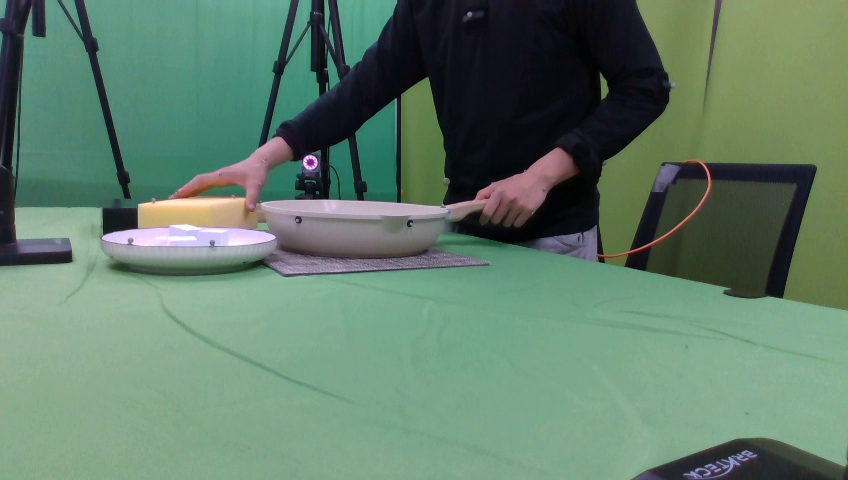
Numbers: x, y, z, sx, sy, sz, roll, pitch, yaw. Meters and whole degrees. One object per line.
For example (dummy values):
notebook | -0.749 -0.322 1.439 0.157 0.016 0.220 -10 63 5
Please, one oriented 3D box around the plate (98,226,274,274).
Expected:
plate | -0.301 0.012 0.778 0.208 0.039 0.207 3 7 0

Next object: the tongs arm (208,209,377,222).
tongs arm | -0.280 -0.055 1.355 0.389 0.028 0.028 -1 6 -28

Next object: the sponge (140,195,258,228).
sponge | -0.381 -0.041 1.047 0.118 0.061 0.207 0 8 3

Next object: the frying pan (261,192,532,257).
frying pan | -0.016 -0.044 1.006 0.490 0.102 0.305 -11 13 -26

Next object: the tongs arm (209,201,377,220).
tongs arm | -0.306 -0.070 1.430 0.386 0.026 0.050 2 8 -15
